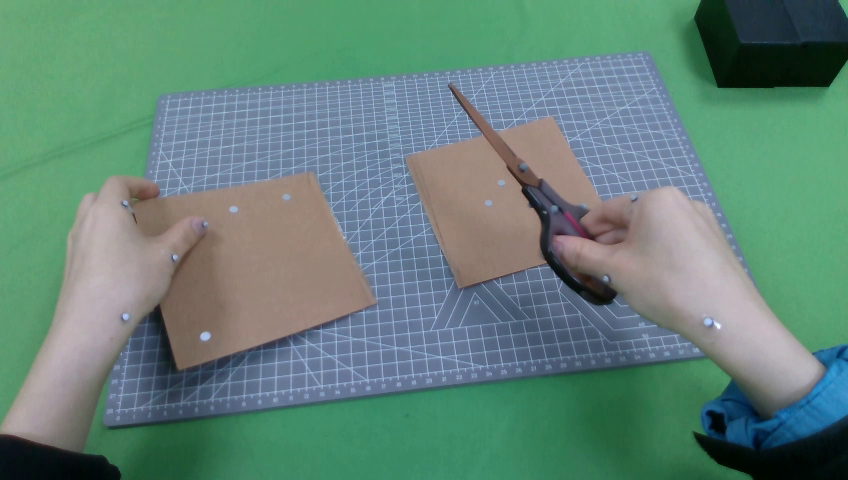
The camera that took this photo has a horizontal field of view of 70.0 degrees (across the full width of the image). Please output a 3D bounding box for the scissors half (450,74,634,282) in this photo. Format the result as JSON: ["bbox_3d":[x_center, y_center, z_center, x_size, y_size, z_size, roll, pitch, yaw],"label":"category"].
[{"bbox_3d":[0.075,-0.043,0.393,0.175,0.013,0.040,47,47,1],"label":"scissors half"}]

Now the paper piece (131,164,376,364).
[{"bbox_3d":[-0.124,0.007,0.434,0.138,0.009,0.134,-16,59,-22],"label":"paper piece"}]

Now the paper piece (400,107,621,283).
[{"bbox_3d":[0.064,-0.041,0.476,0.136,0.004,0.134,-16,60,-8],"label":"paper piece"}]

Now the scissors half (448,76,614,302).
[{"bbox_3d":[0.062,-0.036,0.380,0.040,0.013,0.174,-18,71,-45],"label":"scissors half"}]
